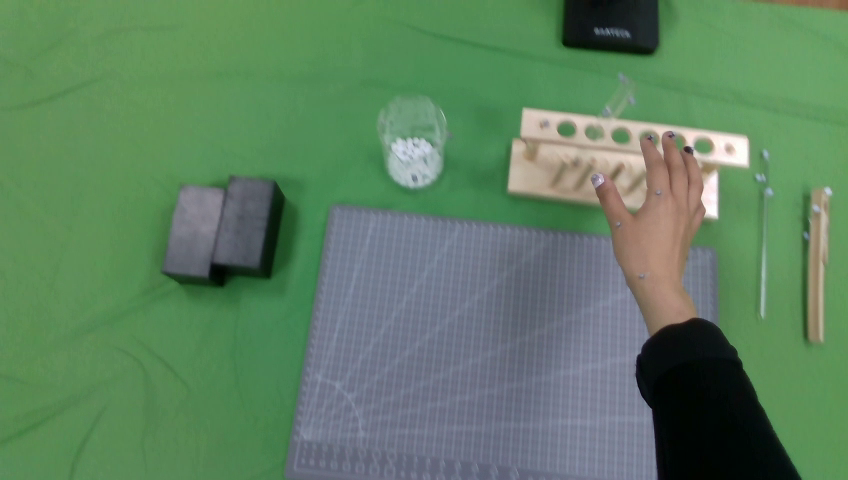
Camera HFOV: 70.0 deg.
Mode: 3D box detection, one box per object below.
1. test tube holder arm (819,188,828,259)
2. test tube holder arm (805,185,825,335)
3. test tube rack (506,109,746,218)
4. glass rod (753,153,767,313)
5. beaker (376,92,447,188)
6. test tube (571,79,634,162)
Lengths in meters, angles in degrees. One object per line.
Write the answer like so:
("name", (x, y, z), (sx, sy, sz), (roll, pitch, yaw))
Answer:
("test tube holder arm", (0.460, -0.019, 0.705), (0.010, 0.015, 0.087), (21, 73, -26))
("test tube holder arm", (0.445, 0.021, 0.690), (0.013, 0.015, 0.177), (21, 73, -26))
("test tube rack", (0.222, -0.084, 0.685), (0.242, 0.085, 0.066), (8, 74, 1))
("glass rod", (0.392, -0.012, 0.707), (0.008, 0.008, 0.198), (11, 74, 2))
("beaker", (-0.014, -0.104, 0.680), (0.074, 0.101, 0.083), (9, 74, 2))
("test tube", (0.186, -0.122, 0.643), (0.017, 0.151, 0.017), (2, 70, -5))
